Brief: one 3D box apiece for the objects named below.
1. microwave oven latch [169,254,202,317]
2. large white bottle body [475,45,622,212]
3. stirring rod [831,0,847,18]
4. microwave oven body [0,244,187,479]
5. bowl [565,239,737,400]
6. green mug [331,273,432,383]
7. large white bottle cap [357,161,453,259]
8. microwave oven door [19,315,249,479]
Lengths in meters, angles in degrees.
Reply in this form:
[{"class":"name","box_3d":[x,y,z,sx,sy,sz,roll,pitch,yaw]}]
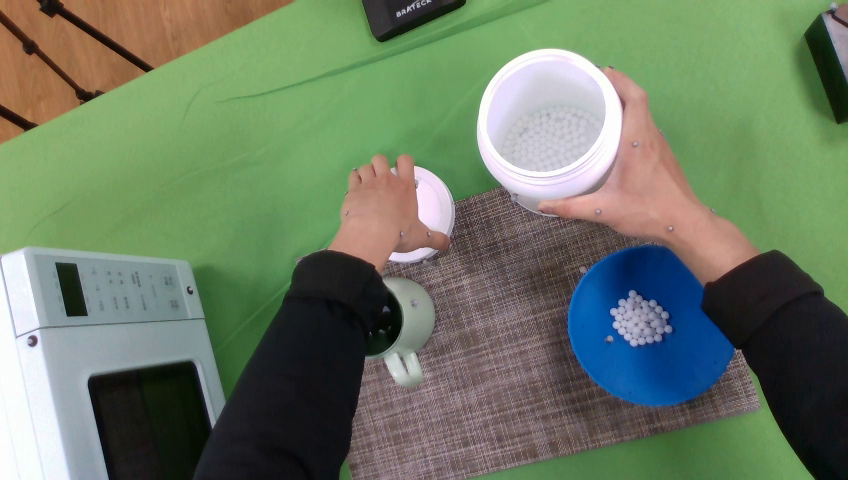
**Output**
[{"class":"microwave oven latch","box_3d":[-0.304,0.058,0.756,0.030,0.029,0.079,-20,82,13]},{"class":"large white bottle body","box_3d":[0.121,-0.101,0.584,0.130,0.185,0.130,-1,86,15]},{"class":"stirring rod","box_3d":[0.444,-0.167,0.539,0.175,0.006,0.014,41,132,14]},{"class":"microwave oven body","box_3d":[-0.413,0.266,0.672,0.326,0.261,0.440,-20,82,13]},{"class":"bowl","box_3d":[0.219,0.077,0.601,0.151,0.077,0.151,-1,86,16]},{"class":"green mug","box_3d":[-0.037,0.096,0.658,0.092,0.105,0.125,-28,80,12]},{"class":"large white bottle cap","box_3d":[-0.023,-0.035,0.708,0.114,0.018,0.114,-1,85,15]},{"class":"microwave oven door","box_3d":[-0.268,0.256,0.627,0.039,0.245,0.354,-21,81,13]}]
